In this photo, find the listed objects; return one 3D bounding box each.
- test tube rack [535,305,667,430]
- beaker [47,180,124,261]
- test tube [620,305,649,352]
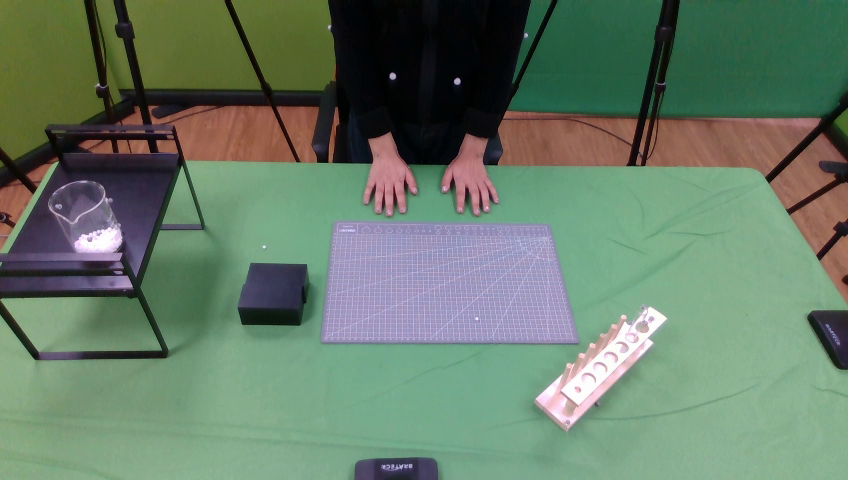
[{"bbox_3d":[0.290,0.193,0.984,0.242,0.085,0.066,-32,57,-30],"label":"test tube rack"},{"bbox_3d":[-0.486,-0.024,0.879,0.074,0.101,0.083,-6,48,-9],"label":"beaker"},{"bbox_3d":[0.330,0.150,0.960,0.017,0.151,0.017,-1,50,2],"label":"test tube"}]
